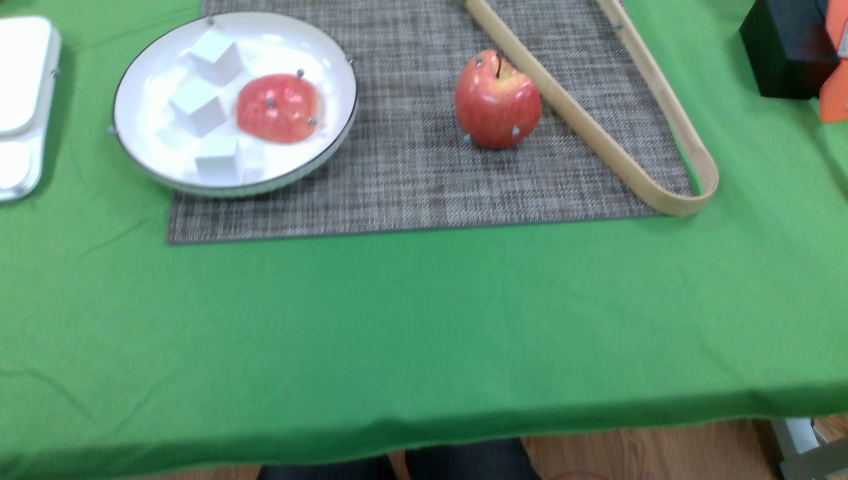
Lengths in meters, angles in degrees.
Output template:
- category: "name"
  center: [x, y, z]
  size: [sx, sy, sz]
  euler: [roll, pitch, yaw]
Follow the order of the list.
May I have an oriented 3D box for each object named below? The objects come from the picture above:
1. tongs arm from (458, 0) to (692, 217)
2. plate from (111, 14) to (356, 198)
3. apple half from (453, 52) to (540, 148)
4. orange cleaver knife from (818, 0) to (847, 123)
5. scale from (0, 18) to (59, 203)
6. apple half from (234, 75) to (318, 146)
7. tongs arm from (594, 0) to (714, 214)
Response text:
- category: "tongs arm"
  center: [0.112, -0.166, 0.587]
  size: [0.028, 0.028, 0.384]
  euler: [-25, 64, -20]
- category: "plate"
  center: [-0.164, -0.119, 0.541]
  size: [0.209, 0.038, 0.207]
  euler: [1, 59, -2]
- category: "apple half"
  center: [0.055, -0.114, 0.528]
  size: [0.053, 0.075, 0.080]
  euler: [-39, 72, -18]
- category: "orange cleaver knife"
  center: [0.390, -0.138, 0.555]
  size: [0.012, 0.077, 0.211]
  euler: [1, 89, -6]
- category: "scale"
  center: [-0.411, -0.115, 0.536]
  size: [0.149, 0.032, 0.199]
  euler: [-8, 61, -7]
- category: "apple half"
  center: [-0.133, -0.123, 0.539]
  size: [0.081, 0.033, 0.080]
  euler: [3, 60, -5]
- category: "tongs arm"
  center: [0.189, -0.192, 0.604]
  size: [0.051, 0.027, 0.381]
  euler: [-14, 62, -11]
